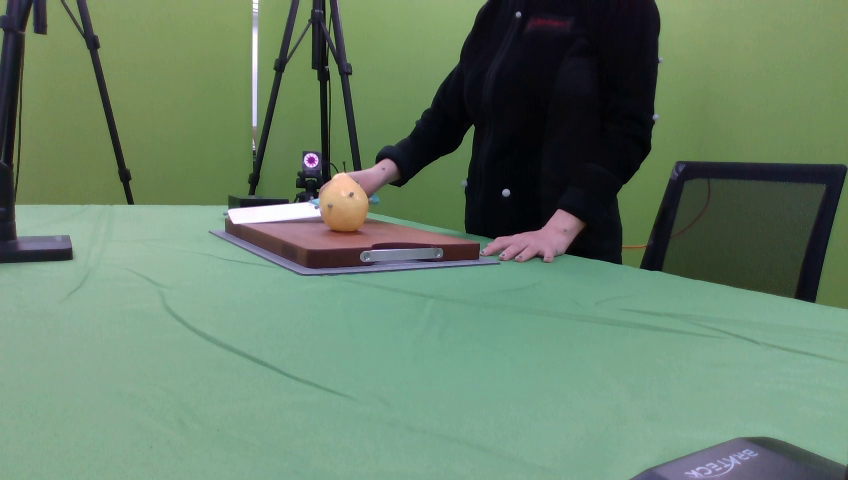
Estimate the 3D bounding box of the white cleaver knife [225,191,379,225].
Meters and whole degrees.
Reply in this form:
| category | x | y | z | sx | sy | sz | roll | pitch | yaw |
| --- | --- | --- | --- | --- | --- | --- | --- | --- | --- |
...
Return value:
| category | x | y | z | sx | sy | sz | roll | pitch | yaw |
| --- | --- | --- | --- | --- | --- | --- | --- | --- | --- |
| white cleaver knife | -0.205 | -0.053 | 1.069 | 0.288 | 0.021 | 0.065 | -11 | 37 | -33 |

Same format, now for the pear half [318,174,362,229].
| category | x | y | z | sx | sy | sz | roll | pitch | yaw |
| --- | --- | --- | --- | --- | --- | --- | --- | --- | --- |
| pear half | -0.136 | -0.062 | 0.959 | 0.071 | 0.088 | 0.031 | -7 | 11 | -29 |

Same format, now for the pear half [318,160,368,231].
| category | x | y | z | sx | sy | sz | roll | pitch | yaw |
| --- | --- | --- | --- | --- | --- | --- | --- | --- | --- |
| pear half | -0.120 | -0.067 | 0.927 | 0.077 | 0.110 | 0.055 | -7 | 11 | -29 |
